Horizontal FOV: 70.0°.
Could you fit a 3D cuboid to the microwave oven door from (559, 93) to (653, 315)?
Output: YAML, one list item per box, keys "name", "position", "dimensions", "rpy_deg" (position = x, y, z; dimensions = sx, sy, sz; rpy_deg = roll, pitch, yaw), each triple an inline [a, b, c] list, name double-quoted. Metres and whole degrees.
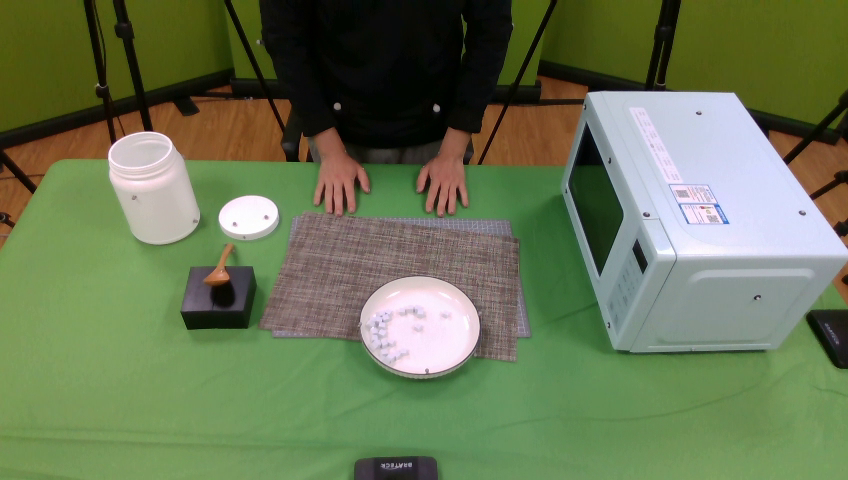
- name: "microwave oven door"
  position: [0.327, -0.074, 1.123]
  dimensions: [0.039, 0.245, 0.353]
  rpy_deg: [-1, 46, -5]

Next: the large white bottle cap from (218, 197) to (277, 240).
- name: "large white bottle cap"
  position: [-0.354, -0.045, 1.220]
  dimensions: [0.115, 0.018, 0.114]
  rpy_deg: [2, 45, -2]

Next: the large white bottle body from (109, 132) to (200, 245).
- name: "large white bottle body"
  position: [-0.506, -0.097, 1.141]
  dimensions: [0.131, 0.185, 0.130]
  rpy_deg: [2, 46, -2]

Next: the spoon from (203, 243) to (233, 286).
- name: "spoon"
  position: [-0.360, 0.039, 1.087]
  dimensions: [0.041, 0.022, 0.192]
  rpy_deg: [-5, 24, -7]

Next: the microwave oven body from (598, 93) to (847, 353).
- name: "microwave oven body"
  position: [0.475, -0.041, 1.109]
  dimensions: [0.326, 0.261, 0.438]
  rpy_deg: [-1, 45, -4]

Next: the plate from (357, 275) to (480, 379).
- name: "plate"
  position: [-0.010, 0.151, 1.038]
  dimensions: [0.209, 0.038, 0.208]
  rpy_deg: [2, 47, -2]

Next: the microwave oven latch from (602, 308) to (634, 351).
- name: "microwave oven latch"
  position: [0.332, 0.153, 1.044]
  dimensions: [0.030, 0.029, 0.078]
  rpy_deg: [-1, 45, -4]

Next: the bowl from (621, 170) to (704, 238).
- name: "bowl"
  position: [0.446, -0.057, 1.166]
  dimensions: [0.151, 0.077, 0.150]
  rpy_deg: [2, 46, -2]
